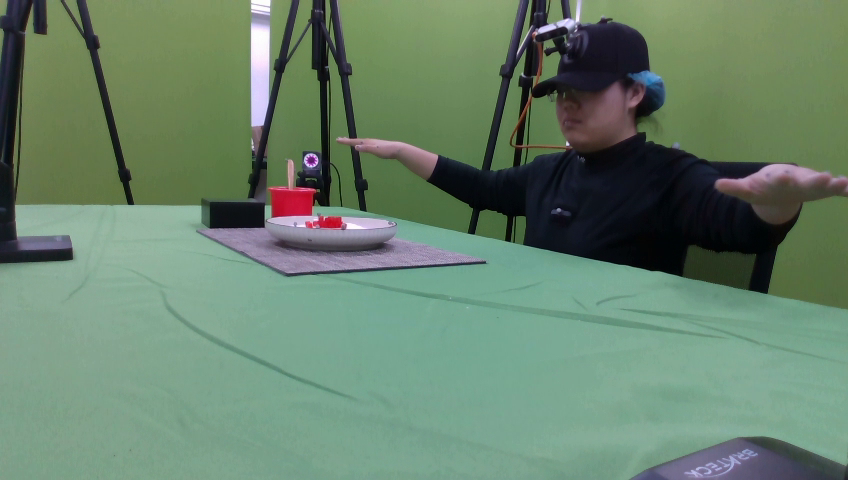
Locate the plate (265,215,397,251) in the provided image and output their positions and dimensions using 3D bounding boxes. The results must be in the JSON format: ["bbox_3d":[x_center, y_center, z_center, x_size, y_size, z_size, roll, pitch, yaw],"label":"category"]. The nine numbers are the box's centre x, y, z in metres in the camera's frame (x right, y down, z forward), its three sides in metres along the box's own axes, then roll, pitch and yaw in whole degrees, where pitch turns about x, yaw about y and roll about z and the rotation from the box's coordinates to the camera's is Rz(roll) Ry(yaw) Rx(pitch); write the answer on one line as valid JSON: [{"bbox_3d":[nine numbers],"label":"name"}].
[{"bbox_3d":[-0.147,-0.012,0.963,0.209,0.038,0.209,3,7,0],"label":"plate"}]

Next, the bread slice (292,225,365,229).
[{"bbox_3d":[-0.154,-0.012,0.973,0.132,0.019,0.104,-1,7,-31],"label":"bread slice"}]

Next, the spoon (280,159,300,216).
[{"bbox_3d":[-0.282,-0.108,1.276,0.042,0.021,0.193,0,52,-11],"label":"spoon"}]
